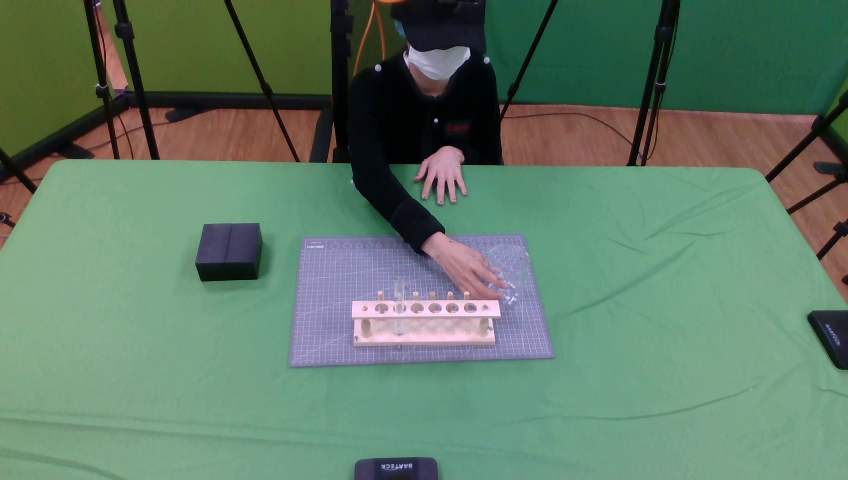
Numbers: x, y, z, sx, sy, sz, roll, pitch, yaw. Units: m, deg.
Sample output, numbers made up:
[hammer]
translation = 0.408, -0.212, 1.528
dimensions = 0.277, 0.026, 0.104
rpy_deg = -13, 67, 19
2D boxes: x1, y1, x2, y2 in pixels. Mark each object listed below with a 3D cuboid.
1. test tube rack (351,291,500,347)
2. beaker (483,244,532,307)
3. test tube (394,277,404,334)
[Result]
[test tube rack]
translation = 0.001, 0.129, 1.026
dimensions = 0.242, 0.085, 0.066
rpy_deg = 0, 46, -4
[beaker]
translation = 0.144, 0.065, 1.089
dimensions = 0.083, 0.101, 0.074
rpy_deg = 27, 50, 22
[test tube]
translation = -0.041, 0.109, 0.972
dimensions = 0.017, 0.151, 0.017
rpy_deg = 2, 50, -2
